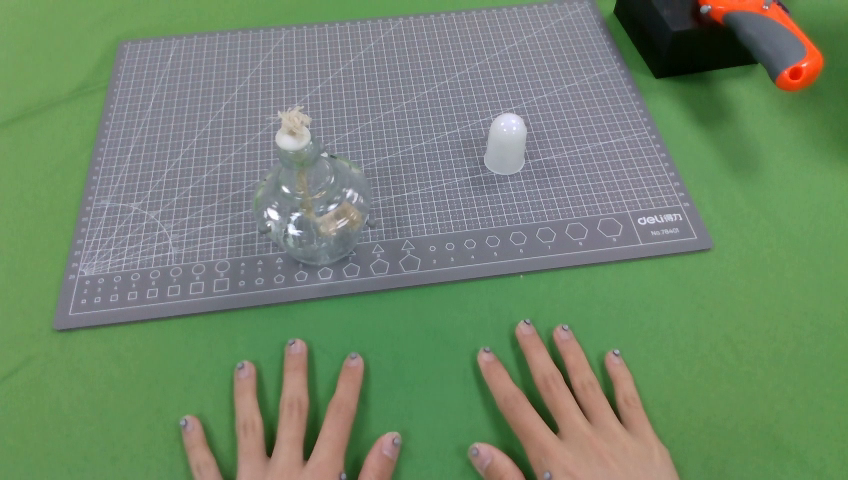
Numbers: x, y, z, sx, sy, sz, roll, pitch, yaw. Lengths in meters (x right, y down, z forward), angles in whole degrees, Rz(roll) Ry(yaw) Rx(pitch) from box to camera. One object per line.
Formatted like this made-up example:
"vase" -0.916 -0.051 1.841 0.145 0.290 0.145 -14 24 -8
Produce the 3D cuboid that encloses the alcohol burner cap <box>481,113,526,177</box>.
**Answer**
"alcohol burner cap" 0.061 -0.075 0.458 0.034 0.048 0.033 1 54 -1

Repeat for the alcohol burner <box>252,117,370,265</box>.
"alcohol burner" -0.075 -0.036 0.388 0.078 0.120 0.077 0 57 1

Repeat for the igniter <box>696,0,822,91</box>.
"igniter" 0.248 -0.218 0.511 0.057 0.025 0.273 -11 54 -4
